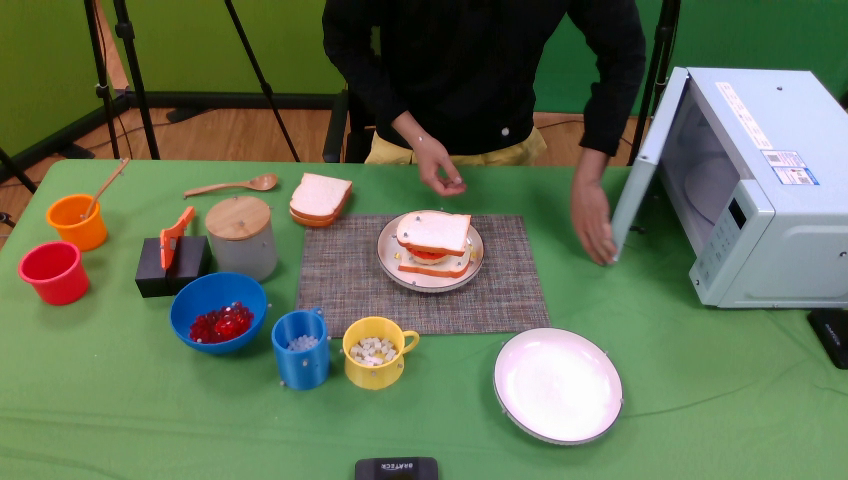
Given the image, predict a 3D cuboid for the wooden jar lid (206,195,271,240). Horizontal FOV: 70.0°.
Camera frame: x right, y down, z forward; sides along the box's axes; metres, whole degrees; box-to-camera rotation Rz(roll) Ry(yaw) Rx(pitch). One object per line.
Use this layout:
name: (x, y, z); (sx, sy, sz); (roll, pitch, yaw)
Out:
wooden jar lid: (-0.319, -0.036, 1.046); (0.108, 0.021, 0.107); (1, 44, 0)

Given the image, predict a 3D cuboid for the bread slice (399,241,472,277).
bread slice: (0.026, 0.024, 1.159); (0.131, 0.019, 0.104); (8, 47, 5)

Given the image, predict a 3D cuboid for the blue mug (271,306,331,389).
blue mug: (-0.188, 0.163, 0.969); (0.082, 0.106, 0.116); (15, 47, 10)

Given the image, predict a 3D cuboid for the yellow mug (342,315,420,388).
yellow mug: (-0.067, 0.177, 0.990); (0.131, 0.064, 0.099); (-16, 50, -19)

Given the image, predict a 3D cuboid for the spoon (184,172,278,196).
spoon: (-0.405, -0.116, 1.275); (0.194, 0.022, 0.041); (-8, 65, -12)

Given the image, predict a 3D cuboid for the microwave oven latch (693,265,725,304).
microwave oven latch: (0.523, 0.081, 1.116); (0.030, 0.029, 0.078); (2, 46, -1)

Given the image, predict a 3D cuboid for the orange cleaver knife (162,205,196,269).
orange cleaver knife: (-0.454, -0.010, 1.129); (0.012, 0.077, 0.210); (-2, 20, -5)

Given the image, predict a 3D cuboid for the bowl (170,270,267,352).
bowl: (-0.333, 0.132, 1.006); (0.151, 0.077, 0.150); (2, 46, -2)

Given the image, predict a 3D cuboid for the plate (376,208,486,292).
plate: (0.012, 0.021, 1.158); (0.209, 0.038, 0.208); (2, 46, -2)

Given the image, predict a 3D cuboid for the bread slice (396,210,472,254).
bread slice: (0.017, -0.016, 1.113); (0.134, 0.018, 0.106); (3, 40, 7)

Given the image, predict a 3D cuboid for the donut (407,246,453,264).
donut: (0.014, 0.001, 1.138); (0.099, 0.048, 0.098); (2, 48, -2)

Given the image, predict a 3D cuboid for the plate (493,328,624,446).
plate: (0.213, 0.236, 0.974); (0.208, 0.039, 0.206); (2, 46, -2)

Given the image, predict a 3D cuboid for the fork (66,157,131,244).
fork: (-0.608, -0.074, 1.133); (0.207, 0.019, 0.028); (-52, 50, 10)

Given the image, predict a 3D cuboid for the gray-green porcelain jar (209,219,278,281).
gray-green porcelain jar: (-0.323, 0.007, 1.092); (0.106, 0.127, 0.105); (2, 46, -2)

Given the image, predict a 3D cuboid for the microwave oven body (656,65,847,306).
microwave oven body: (0.669, -0.111, 1.176); (0.326, 0.261, 0.439); (0, 46, -3)

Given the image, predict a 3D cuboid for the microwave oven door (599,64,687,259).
microwave oven door: (0.441, -0.163, 1.203); (0.039, 0.245, 0.354); (22, 49, 16)
